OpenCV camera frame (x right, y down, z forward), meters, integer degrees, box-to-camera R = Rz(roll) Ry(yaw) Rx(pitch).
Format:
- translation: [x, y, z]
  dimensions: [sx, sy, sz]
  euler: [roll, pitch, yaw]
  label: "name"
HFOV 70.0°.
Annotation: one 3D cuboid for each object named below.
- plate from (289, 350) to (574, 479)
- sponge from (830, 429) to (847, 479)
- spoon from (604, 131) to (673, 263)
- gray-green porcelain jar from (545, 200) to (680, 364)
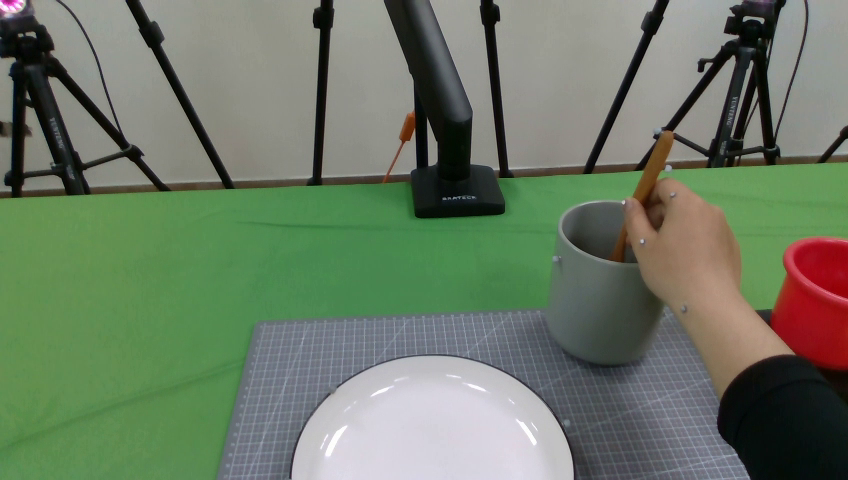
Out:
- translation: [0.006, 0.169, 0.458]
  dimensions: [0.208, 0.039, 0.205]
  euler: [0, 35, 0]
  label: "plate"
- translation: [0.395, 0.204, 0.393]
  dimensions: [0.118, 0.061, 0.204]
  euler: [-4, 35, -7]
  label: "sponge"
- translation: [0.178, -0.008, 0.532]
  dimensions: [0.022, 0.195, 0.041]
  euler: [-16, 46, -24]
  label: "spoon"
- translation: [0.169, 0.042, 0.564]
  dimensions: [0.106, 0.127, 0.105]
  euler: [0, 35, 1]
  label: "gray-green porcelain jar"
